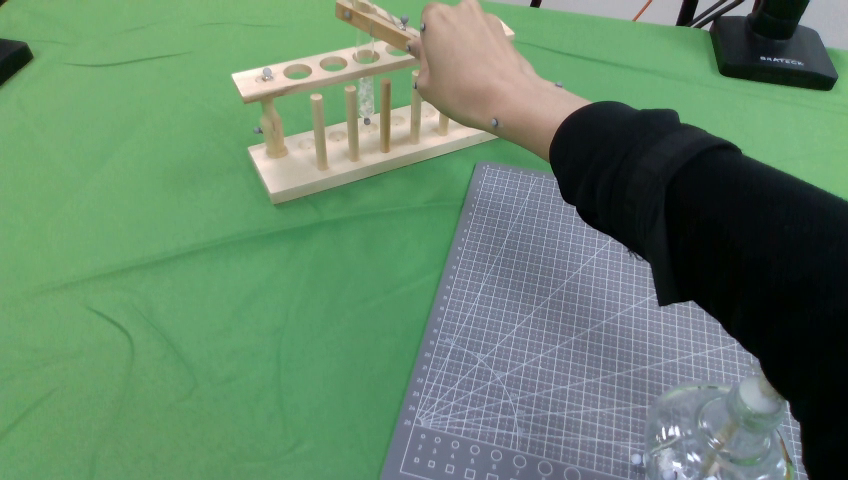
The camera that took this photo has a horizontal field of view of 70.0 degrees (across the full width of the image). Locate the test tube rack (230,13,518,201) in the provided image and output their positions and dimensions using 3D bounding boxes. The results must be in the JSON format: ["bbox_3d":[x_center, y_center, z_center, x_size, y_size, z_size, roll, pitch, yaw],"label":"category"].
[{"bbox_3d":[-0.032,-0.119,0.525,0.243,0.086,0.066,-19,52,-19],"label":"test tube rack"}]

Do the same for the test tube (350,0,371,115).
[{"bbox_3d":[-0.050,-0.166,0.483,0.017,0.151,0.017,2,44,-2],"label":"test tube"}]

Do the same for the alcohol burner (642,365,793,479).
[{"bbox_3d":[0.158,0.098,0.318,0.078,0.120,0.077,1,50,0],"label":"alcohol burner"}]

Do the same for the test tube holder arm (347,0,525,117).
[{"bbox_3d":[0.004,-0.141,0.449,0.177,0.015,0.013,38,53,23],"label":"test tube holder arm"}]

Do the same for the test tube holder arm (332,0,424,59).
[{"bbox_3d":[-0.034,-0.162,0.461,0.087,0.015,0.010,31,50,18],"label":"test tube holder arm"}]
